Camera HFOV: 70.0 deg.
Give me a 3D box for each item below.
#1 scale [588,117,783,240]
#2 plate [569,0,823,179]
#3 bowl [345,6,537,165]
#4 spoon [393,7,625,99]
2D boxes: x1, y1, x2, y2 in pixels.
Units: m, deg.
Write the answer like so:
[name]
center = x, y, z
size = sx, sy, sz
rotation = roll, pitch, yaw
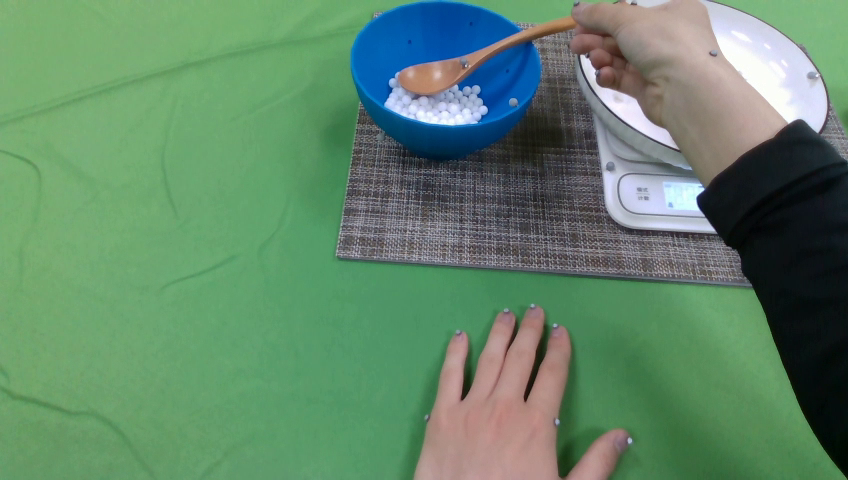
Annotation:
[scale]
center = 0.220, -0.091, 0.529
size = 0.149, 0.032, 0.199
rotation = 3, 56, -1
[plate]
center = 0.223, -0.128, 0.515
size = 0.209, 0.038, 0.207
rotation = 2, 56, -3
[bowl]
center = 0.012, -0.116, 0.504
size = 0.151, 0.077, 0.150
rotation = 2, 55, -2
[spoon]
center = 0.067, -0.154, 0.493
size = 0.193, 0.022, 0.041
rotation = -19, 48, 11
